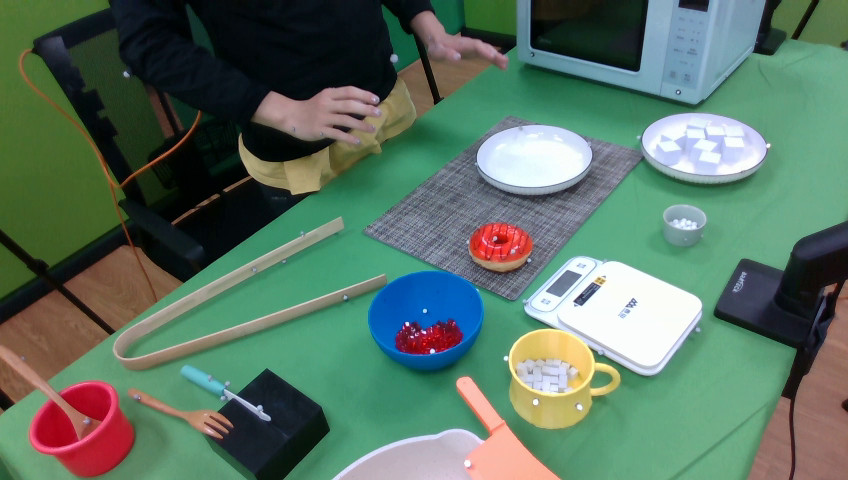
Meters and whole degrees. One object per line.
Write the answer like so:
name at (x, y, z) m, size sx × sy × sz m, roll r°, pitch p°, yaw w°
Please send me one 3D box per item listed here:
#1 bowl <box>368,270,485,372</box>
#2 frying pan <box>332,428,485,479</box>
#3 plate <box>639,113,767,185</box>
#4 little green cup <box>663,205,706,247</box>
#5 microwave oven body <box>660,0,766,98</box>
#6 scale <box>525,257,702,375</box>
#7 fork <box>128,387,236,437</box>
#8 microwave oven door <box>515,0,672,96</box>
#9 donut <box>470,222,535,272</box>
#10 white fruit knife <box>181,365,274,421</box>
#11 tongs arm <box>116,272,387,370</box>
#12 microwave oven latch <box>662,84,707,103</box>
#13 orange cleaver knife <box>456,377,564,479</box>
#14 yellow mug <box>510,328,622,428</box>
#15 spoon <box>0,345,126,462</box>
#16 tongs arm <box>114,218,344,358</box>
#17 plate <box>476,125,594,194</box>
bowl at (0.007, 0.118, 0.791) m, size 0.151 × 0.077 × 0.150 m, roll -4°, pitch 40°, yaw 4°
frying pan at (-0.089, 0.306, 0.564) m, size 0.487 × 0.103 × 0.306 m, roll 10°, pitch 41°, yaw 7°
plate at (0.489, -0.157, 1.074) m, size 0.207 × 0.039 × 0.206 m, roll -4°, pitch 40°, yaw 4°
little green cup at (0.396, -0.020, 0.926) m, size 0.061 × 0.039 × 0.061 m, roll -4°, pitch 40°, yaw 4°
microwave oven body at (0.472, -0.513, 1.317) m, size 0.438 × 0.261 × 0.327 m, roll 26°, pitch 51°, yaw 34°
scale at (0.254, 0.091, 0.821) m, size 0.199 × 0.032 × 0.149 m, roll 28°, pitch 51°, yaw 35°
fork at (-0.305, 0.207, 0.744) m, size 0.206 × 0.019 × 0.028 m, roll 3°, pitch 41°, yaw 36°
microwave oven door at (0.343, -0.454, 1.259) m, size 0.353 × 0.245 × 0.039 m, roll 26°, pitch 51°, yaw 33°
donut at (0.119, 0.009, 0.923) m, size 0.099 × 0.048 × 0.098 m, roll -4°, pitch 38°, yaw 3°
white fruit knife at (-0.245, 0.187, 0.747) m, size 0.205 × 0.027 × 0.016 m, roll 9°, pitch 41°, yaw 40°
tongs arm at (-0.237, 0.113, 0.869) m, size 0.389 × 0.028 × 0.028 m, roll -18°, pitch 48°, yaw -12°
microwave oven latch at (0.517, -0.296, 1.204) m, size 0.078 × 0.029 × 0.030 m, roll 27°, pitch 52°, yaw 35°
orange cleaver knife at (0.081, 0.220, 0.611) m, size 0.077 × 0.012 × 0.209 m, roll -26°, pitch 43°, yaw -22°
yellow mug at (0.169, 0.164, 0.722) m, size 0.130 × 0.064 × 0.099 m, roll 0°, pitch 40°, yaw 8°
spoon at (-0.434, 0.192, 0.720) m, size 0.194 × 0.021 × 0.042 m, roll 47°, pitch 53°, yaw -7°
tongs arm at (-0.280, 0.067, 0.927) m, size 0.386 × 0.026 × 0.050 m, roll -29°, pitch 48°, yaw -23°
plate at (0.199, -0.141, 1.093) m, size 0.209 × 0.038 × 0.208 m, roll -4°, pitch 40°, yaw 4°
